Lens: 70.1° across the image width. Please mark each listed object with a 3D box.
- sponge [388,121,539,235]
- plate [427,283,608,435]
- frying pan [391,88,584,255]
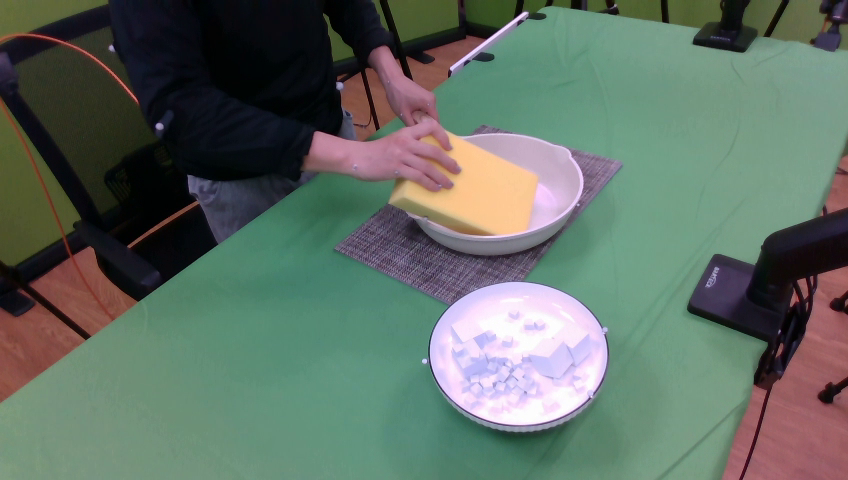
[{"bbox_3d":[0.062,-0.076,0.901,0.208,0.060,0.118,23,75,-23],"label":"sponge"},{"bbox_3d":[0.108,0.137,0.708,0.207,0.039,0.206,-4,42,4],"label":"plate"},{"bbox_3d":[0.063,-0.143,1.056,0.308,0.103,0.483,-22,51,-18],"label":"frying pan"}]
